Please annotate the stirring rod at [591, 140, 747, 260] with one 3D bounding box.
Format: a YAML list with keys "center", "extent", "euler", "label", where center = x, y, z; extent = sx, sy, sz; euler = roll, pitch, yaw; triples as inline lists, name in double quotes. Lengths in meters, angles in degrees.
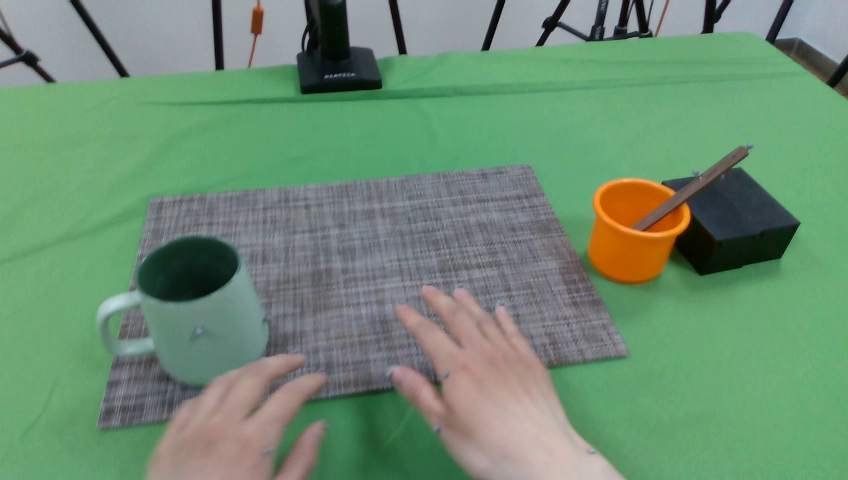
- center: [0.239, -0.037, 0.598]
  extent: [0.176, 0.006, 0.014]
  euler: [-40, 47, 19]
  label: "stirring rod"

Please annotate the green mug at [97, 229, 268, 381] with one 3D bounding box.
- center: [-0.198, 0.059, 0.497]
  extent: [0.125, 0.106, 0.091]
  euler: [-15, 46, -17]
  label: "green mug"
